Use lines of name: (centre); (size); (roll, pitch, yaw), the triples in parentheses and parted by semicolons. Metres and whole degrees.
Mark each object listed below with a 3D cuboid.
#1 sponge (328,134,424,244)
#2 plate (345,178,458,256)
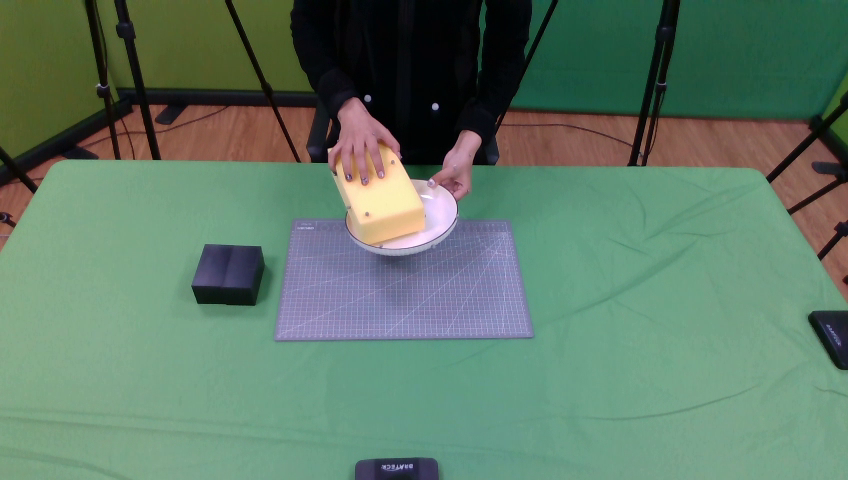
sponge: (-0.090, -0.096, 1.107); (0.118, 0.061, 0.205); (-17, 52, -13)
plate: (-0.040, -0.039, 1.109); (0.209, 0.038, 0.208); (-5, 41, 4)
